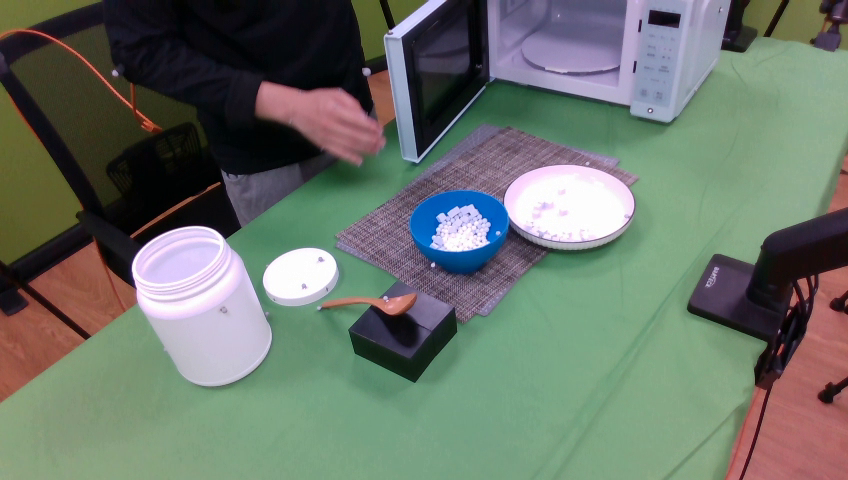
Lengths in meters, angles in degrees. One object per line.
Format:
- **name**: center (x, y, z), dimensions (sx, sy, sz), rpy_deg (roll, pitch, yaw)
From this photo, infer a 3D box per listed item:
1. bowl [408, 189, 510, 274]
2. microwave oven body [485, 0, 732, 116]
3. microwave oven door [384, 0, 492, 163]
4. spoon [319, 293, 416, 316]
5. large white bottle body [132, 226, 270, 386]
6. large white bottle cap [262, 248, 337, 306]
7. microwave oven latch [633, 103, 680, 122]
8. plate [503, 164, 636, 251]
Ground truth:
- **bowl**: center (0.055, -0.002, 0.914), dimensions (0.151, 0.077, 0.150), rpy_deg (-4, 40, 4)
- **microwave oven body**: center (0.377, -0.462, 1.267), dimensions (0.438, 0.261, 0.327), rpy_deg (21, 48, 30)
- **microwave oven door**: center (0.041, -0.346, 1.173), dimensions (0.039, 0.245, 0.356), rpy_deg (15, 45, 24)
- **spoon**: center (-0.082, 0.086, 0.826), dimensions (0.192, 0.022, 0.041), rpy_deg (-3, 36, 41)
- **large white bottle body**: center (-0.286, 0.085, 0.783), dimensions (0.130, 0.185, 0.130), rpy_deg (-4, 41, 4)
- **large white bottle cap**: center (-0.193, 0.056, 0.934), dimensions (0.115, 0.018, 0.114), rpy_deg (-4, 41, 4)
- **microwave oven latch**: center (0.443, -0.249, 1.157), dimensions (0.078, 0.029, 0.030), rpy_deg (21, 49, 30)
- **plate**: center (0.232, -0.050, 0.976), dimensions (0.209, 0.038, 0.208), rpy_deg (-3, 41, 3)
